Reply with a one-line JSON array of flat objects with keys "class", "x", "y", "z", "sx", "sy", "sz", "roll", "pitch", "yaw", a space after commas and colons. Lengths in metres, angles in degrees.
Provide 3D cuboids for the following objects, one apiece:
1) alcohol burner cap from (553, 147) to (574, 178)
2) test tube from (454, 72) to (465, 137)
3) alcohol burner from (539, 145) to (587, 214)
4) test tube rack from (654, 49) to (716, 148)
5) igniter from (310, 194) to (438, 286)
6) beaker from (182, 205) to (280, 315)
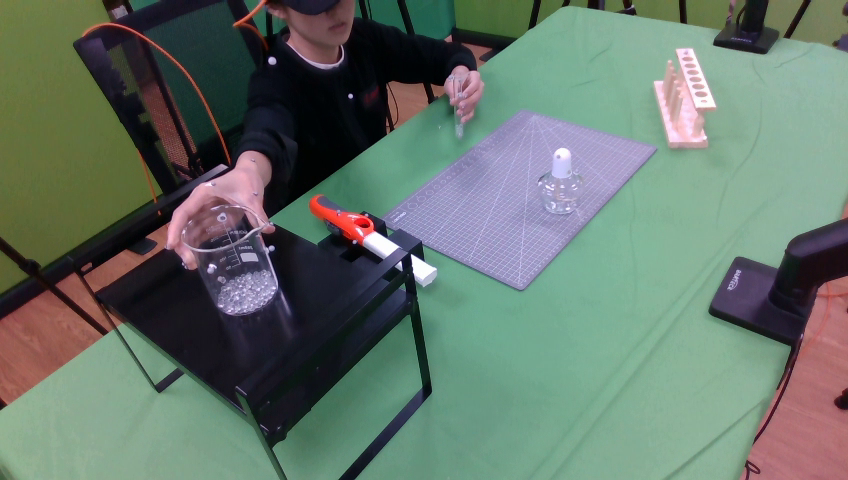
[{"class": "alcohol burner cap", "x": 0.224, "y": -0.125, "z": 0.965, "sx": 0.034, "sy": 0.048, "sz": 0.033, "roll": -5, "pitch": 44, "yaw": 5}, {"class": "test tube", "x": 0.065, "y": -0.242, "z": 1.095, "sx": 0.017, "sy": 0.151, "sz": 0.017, "roll": -3, "pitch": 56, "yaw": 4}, {"class": "alcohol burner", "x": 0.226, "y": -0.102, "z": 0.986, "sx": 0.078, "sy": 0.119, "sz": 0.077, "roll": -6, "pitch": 41, "yaw": 6}, {"class": "test tube rack", "x": 0.502, "y": -0.281, "z": 1.176, "sx": 0.066, "sy": 0.085, "sz": 0.241, "roll": 2, "pitch": 41, "yaw": 11}, {"class": "igniter", "x": -0.087, "y": -0.007, "z": 0.921, "sx": 0.274, "sy": 0.025, "sz": 0.057, "roll": 31, "pitch": 50, "yaw": 34}, {"class": "beaker", "x": -0.197, "y": 0.023, "z": 0.641, "sx": 0.084, "sy": 0.101, "sz": 0.073, "roll": -10, "pitch": 41, "yaw": -4}]
